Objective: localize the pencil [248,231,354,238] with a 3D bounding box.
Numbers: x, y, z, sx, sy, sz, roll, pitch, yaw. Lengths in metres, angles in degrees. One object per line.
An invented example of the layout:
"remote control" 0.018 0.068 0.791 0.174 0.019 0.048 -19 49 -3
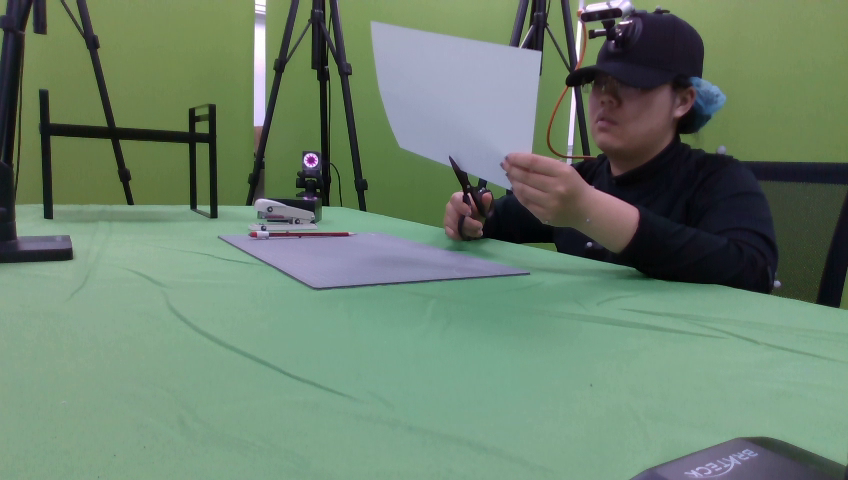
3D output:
"pencil" -0.206 -0.009 1.039 0.195 0.012 0.012 0 8 -36

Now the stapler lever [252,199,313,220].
"stapler lever" -0.273 -0.058 1.170 0.119 0.040 0.026 0 10 -37

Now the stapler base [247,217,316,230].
"stapler base" -0.276 -0.033 1.172 0.131 0.024 0.041 0 10 -37

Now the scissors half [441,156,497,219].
"scissors half" 0.072 -0.084 0.950 0.012 0.040 0.176 22 -10 41

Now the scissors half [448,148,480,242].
"scissors half" 0.059 -0.067 0.943 0.013 0.175 0.040 16 45 39
